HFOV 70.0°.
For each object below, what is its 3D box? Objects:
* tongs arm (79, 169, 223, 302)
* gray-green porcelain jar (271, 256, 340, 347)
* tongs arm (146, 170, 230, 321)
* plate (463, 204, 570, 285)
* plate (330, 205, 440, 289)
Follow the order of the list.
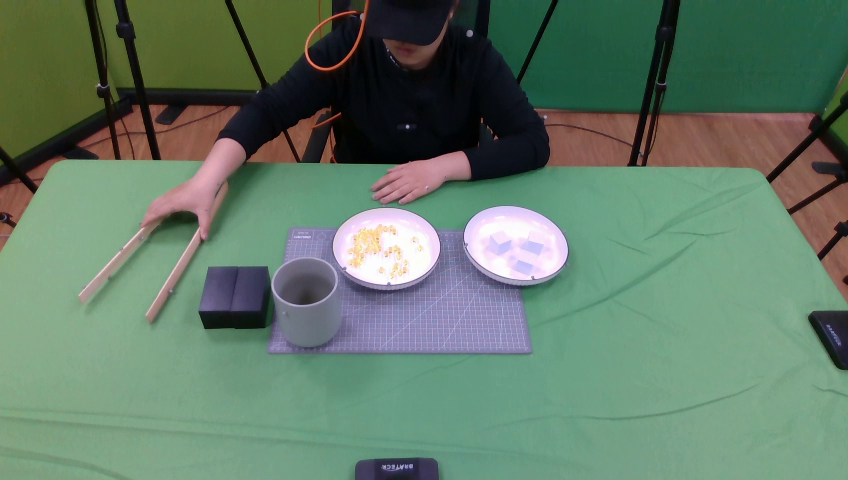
[{"bbox_3d":[-0.511,-0.020,1.170,0.050,0.026,0.383,15,46,10],"label":"tongs arm"},{"bbox_3d":[-0.193,0.107,1.004,0.106,0.127,0.105,2,46,-2],"label":"gray-green porcelain jar"},{"bbox_3d":[-0.443,-0.003,1.162,0.028,0.028,0.385,5,45,6],"label":"tongs arm"},{"bbox_3d":[0.178,0.012,1.184,0.209,0.038,0.208,3,46,-3],"label":"plate"},{"bbox_3d":[-0.074,0.017,1.160,0.208,0.039,0.206,2,47,-2],"label":"plate"}]
